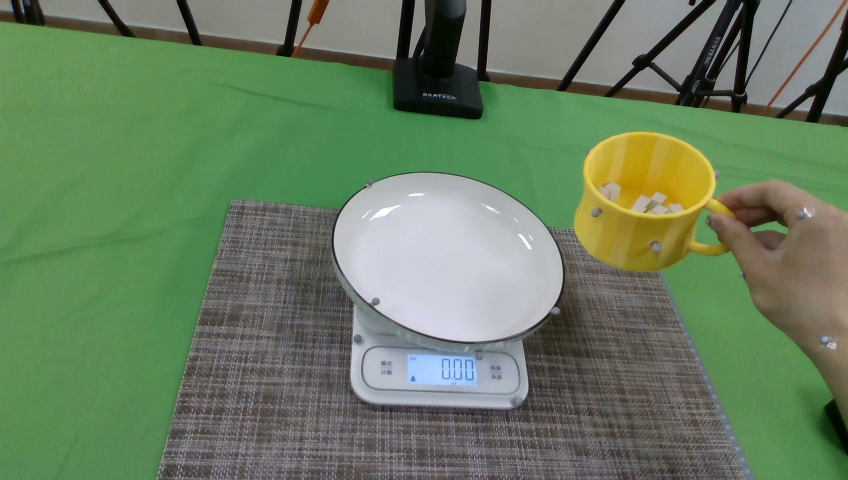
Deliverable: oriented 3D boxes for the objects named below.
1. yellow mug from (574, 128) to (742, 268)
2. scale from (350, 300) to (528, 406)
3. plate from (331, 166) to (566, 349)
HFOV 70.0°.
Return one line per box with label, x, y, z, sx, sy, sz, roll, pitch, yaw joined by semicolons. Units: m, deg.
yellow mug;0.191;-0.029;0.492;0.130;0.064;0.099;27;58;25
scale;0.011;0.052;0.546;0.149;0.032;0.199;5;45;-8
plate;0.020;0.013;0.541;0.209;0.038;0.207;7;45;-7
